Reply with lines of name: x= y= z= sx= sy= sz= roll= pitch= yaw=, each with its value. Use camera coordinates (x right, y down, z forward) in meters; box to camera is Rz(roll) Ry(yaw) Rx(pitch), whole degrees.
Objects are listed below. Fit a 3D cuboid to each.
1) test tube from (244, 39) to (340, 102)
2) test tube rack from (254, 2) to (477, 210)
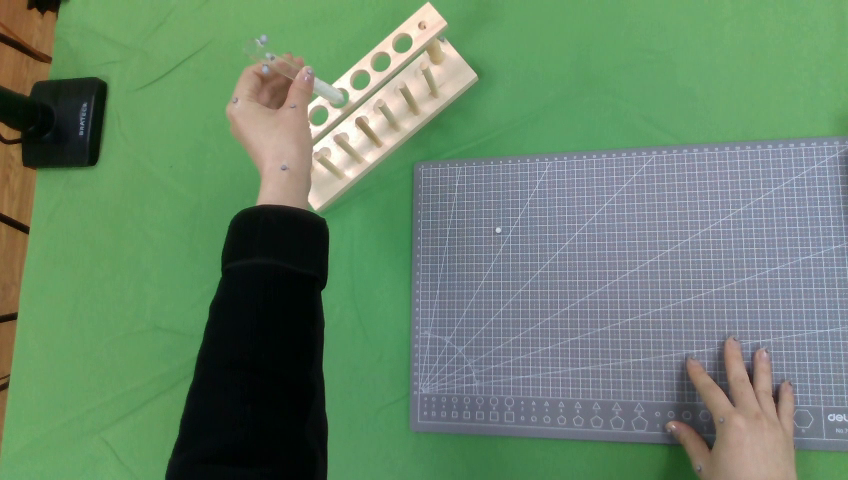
test tube: x=-0.117 y=-0.153 z=0.562 sx=0.017 sy=0.151 sz=0.017 roll=-1 pitch=87 yaw=19
test tube rack: x=-0.062 y=-0.141 z=0.673 sx=0.242 sy=0.085 sz=0.066 roll=-39 pitch=75 yaw=5
